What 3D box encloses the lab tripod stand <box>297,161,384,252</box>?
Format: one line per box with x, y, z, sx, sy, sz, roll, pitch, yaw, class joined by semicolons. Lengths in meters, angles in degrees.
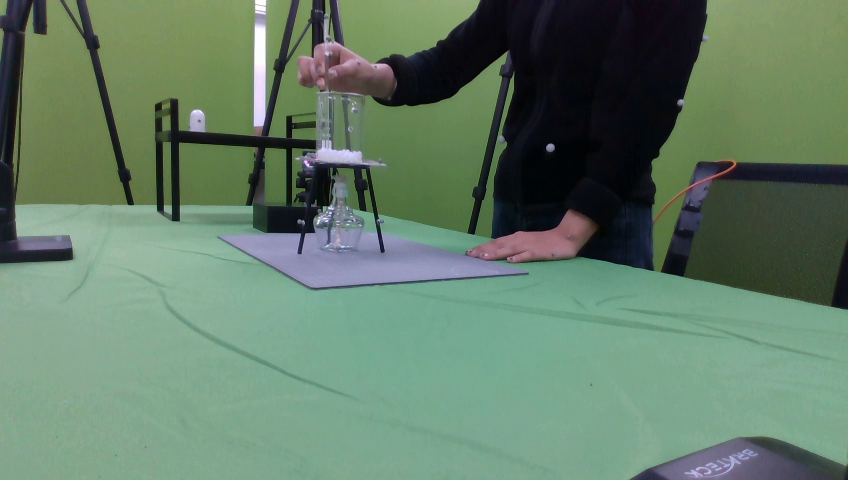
-0.130;-0.051;0.903;0.148;0.131;0.148;3;9;0;lab tripod stand

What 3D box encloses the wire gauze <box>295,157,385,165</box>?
-0.128;-0.117;0.900;0.125;0.011;0.121;-1;7;-14;wire gauze

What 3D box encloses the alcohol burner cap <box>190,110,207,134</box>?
-0.463;-0.242;1.240;0.034;0.048;0.034;2;7;0;alcohol burner cap

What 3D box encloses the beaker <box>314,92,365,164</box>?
-0.123;-0.163;0.893;0.073;0.100;0.084;8;9;31;beaker

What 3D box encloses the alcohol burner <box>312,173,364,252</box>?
-0.129;-0.042;0.910;0.078;0.119;0.078;4;8;0;alcohol burner

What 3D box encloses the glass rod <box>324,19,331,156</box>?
-0.142;-0.223;0.890;0.008;0.199;0.008;-1;2;0;glass rod
